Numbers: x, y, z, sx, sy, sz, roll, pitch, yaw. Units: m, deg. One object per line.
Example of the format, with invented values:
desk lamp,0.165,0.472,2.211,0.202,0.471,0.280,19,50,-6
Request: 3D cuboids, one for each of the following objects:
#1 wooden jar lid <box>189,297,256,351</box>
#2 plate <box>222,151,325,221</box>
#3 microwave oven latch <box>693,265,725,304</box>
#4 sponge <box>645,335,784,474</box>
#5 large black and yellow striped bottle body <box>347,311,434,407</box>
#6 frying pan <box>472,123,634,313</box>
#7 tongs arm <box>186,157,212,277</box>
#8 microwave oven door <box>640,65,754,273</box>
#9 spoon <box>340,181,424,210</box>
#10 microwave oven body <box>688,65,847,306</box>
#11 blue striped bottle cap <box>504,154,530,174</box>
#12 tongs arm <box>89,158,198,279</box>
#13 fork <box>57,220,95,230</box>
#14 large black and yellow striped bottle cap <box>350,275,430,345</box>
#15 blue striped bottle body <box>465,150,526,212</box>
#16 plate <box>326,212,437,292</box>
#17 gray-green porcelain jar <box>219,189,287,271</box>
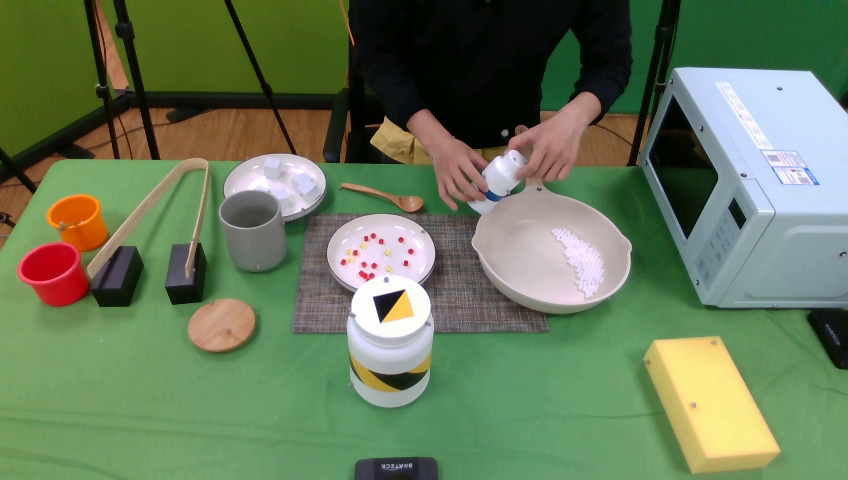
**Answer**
wooden jar lid,-0.342,0.145,1.033,0.108,0.021,0.107,2,45,-2
plate,-0.310,-0.106,1.263,0.208,0.039,0.206,2,47,-2
microwave oven latch,0.523,0.081,1.116,0.030,0.029,0.078,2,46,-1
sponge,0.449,0.253,0.956,0.118,0.061,0.205,-4,46,-7
large black and yellow striped bottle body,-0.052,0.157,0.929,0.131,0.185,0.130,2,47,-2
frying pan,0.235,-0.061,1.207,0.307,0.103,0.484,1,55,-6
tongs arm,-0.445,-0.058,1.168,0.051,0.026,0.382,-5,37,-6
microwave oven door,0.523,-0.147,1.193,0.039,0.245,0.353,0,47,-3
spoon,-0.090,-0.100,1.283,0.193,0.022,0.041,18,60,13
microwave oven body,0.669,-0.111,1.176,0.326,0.261,0.439,0,46,-3
blue striped bottle cap,0.162,-0.133,1.057,0.044,0.020,0.044,25,17,-8
tongs arm,-0.529,-0.057,1.164,0.028,0.028,0.385,1,36,8
fork,-0.624,-0.027,1.086,0.028,0.207,0.018,-3,92,-17
large black and yellow striped bottle cap,-0.048,0.097,0.868,0.115,0.019,0.114,3,48,-3
blue striped bottle body,0.132,-0.110,1.093,0.063,0.121,0.062,24,43,-24
plate,-0.080,0.030,1.143,0.209,0.038,0.208,2,46,-2
gray-green porcelain jar,-0.310,-0.014,1.113,0.106,0.127,0.105,2,46,-2
